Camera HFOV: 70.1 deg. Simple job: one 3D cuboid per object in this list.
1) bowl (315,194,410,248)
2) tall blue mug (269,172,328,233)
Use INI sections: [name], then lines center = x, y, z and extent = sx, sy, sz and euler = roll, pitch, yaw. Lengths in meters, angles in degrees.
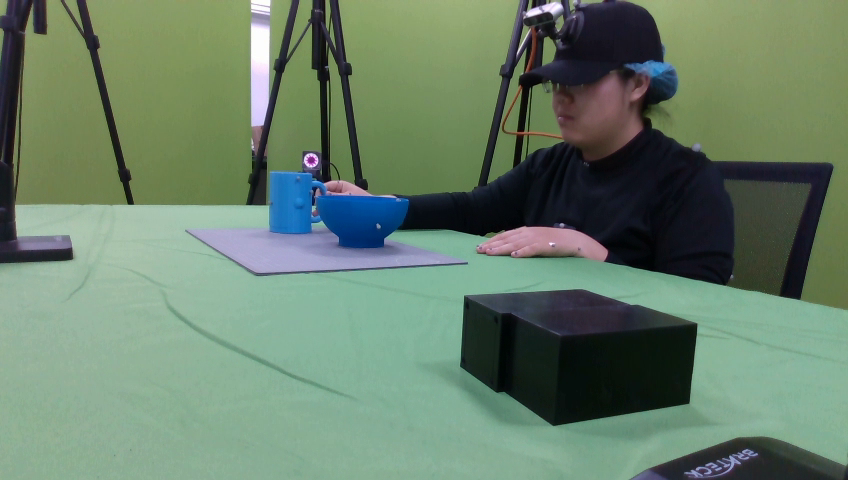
[bowl]
center = -0.100, -0.030, 0.971
extent = 0.151, 0.077, 0.151
euler = 2, 7, 0
[tall blue mug]
center = -0.236, -0.071, 1.118
extent = 0.077, 0.108, 0.107
euler = 5, 8, 25
